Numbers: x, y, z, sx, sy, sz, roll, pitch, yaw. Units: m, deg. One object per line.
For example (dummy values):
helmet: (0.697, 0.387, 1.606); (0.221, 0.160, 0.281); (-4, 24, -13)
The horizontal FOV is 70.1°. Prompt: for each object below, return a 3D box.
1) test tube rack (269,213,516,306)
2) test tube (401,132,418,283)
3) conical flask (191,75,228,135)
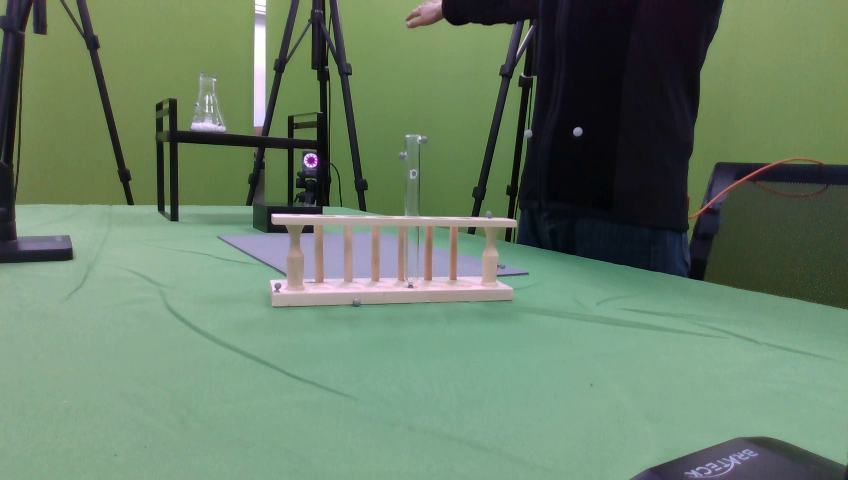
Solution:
test tube rack: (-0.032, 0.015, 0.617); (0.243, 0.085, 0.066); (0, 8, -17)
test tube: (-0.014, -0.031, 0.596); (0.017, 0.150, 0.017); (1, 11, 0)
conical flask: (-0.457, -0.286, 1.286); (0.075, 0.122, 0.075); (2, 7, 0)
